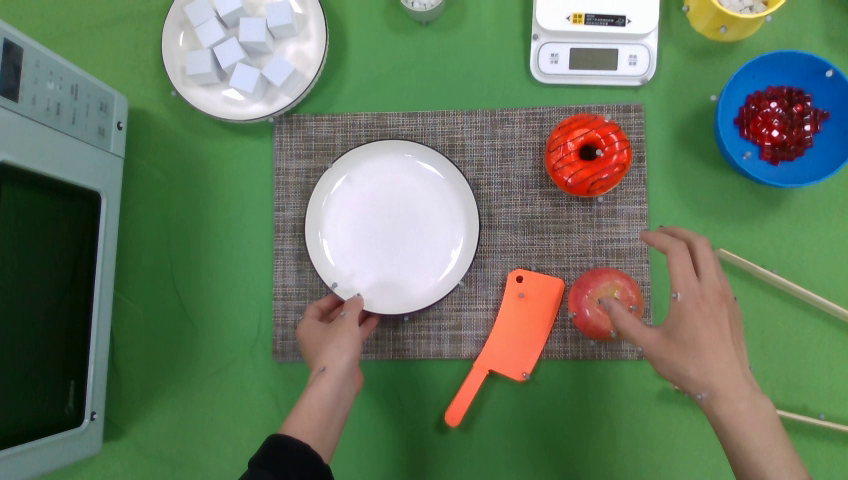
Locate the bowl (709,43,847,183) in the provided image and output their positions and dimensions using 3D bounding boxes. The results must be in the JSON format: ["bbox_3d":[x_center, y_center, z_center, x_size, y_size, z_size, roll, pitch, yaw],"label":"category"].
[{"bbox_3d":[0.387,-0.132,0.678,0.151,0.077,0.151,0,86,4],"label":"bowl"}]

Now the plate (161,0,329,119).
[{"bbox_3d":[-0.217,-0.248,0.750,0.207,0.039,0.207,0,85,4],"label":"plate"}]

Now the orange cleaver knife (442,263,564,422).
[{"bbox_3d":[0.093,0.122,0.702,0.077,0.012,0.211,28,85,0],"label":"orange cleaver knife"}]

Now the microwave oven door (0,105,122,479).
[{"bbox_3d":[-0.402,0.057,0.617,0.039,0.244,0.355,1,85,5],"label":"microwave oven door"}]

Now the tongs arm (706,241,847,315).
[{"bbox_3d":[0.495,0.100,0.675,0.387,0.028,0.028,29,80,6],"label":"tongs arm"}]

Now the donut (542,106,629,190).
[{"bbox_3d":[0.186,-0.106,0.703,0.099,0.048,0.099,0,86,6],"label":"donut"}]

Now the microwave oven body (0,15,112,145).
[{"bbox_3d":[-0.546,0.012,0.637,0.326,0.261,0.440,2,86,4],"label":"microwave oven body"}]

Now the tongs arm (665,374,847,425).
[{"bbox_3d":[0.465,0.180,0.667,0.384,0.026,0.050,14,82,5],"label":"tongs arm"}]

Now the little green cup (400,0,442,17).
[{"bbox_3d":[-0.004,-0.305,0.740,0.061,0.039,0.061,0,85,5],"label":"little green cup"}]

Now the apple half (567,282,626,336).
[{"bbox_3d":[0.183,0.083,0.672,0.081,0.081,0.033,42,86,7],"label":"apple half"}]

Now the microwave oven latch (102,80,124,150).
[{"bbox_3d":[-0.385,-0.151,0.735,0.030,0.029,0.079,4,86,4],"label":"microwave oven latch"}]

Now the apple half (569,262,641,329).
[{"bbox_3d":[0.208,0.054,0.674,0.080,0.075,0.053,41,86,9],"label":"apple half"}]

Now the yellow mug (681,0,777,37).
[{"bbox_3d":[0.350,-0.309,0.701,0.100,0.064,0.130,-33,83,1],"label":"yellow mug"}]

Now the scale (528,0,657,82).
[{"bbox_3d":[0.204,-0.293,0.727,0.148,0.031,0.200,3,86,5],"label":"scale"}]

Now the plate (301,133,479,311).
[{"bbox_3d":[-0.039,-0.021,0.715,0.209,0.038,0.208,0,86,4],"label":"plate"}]
